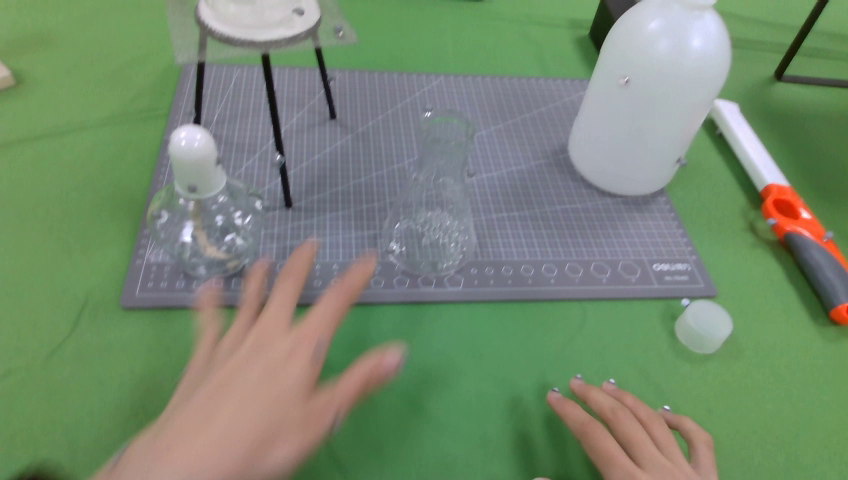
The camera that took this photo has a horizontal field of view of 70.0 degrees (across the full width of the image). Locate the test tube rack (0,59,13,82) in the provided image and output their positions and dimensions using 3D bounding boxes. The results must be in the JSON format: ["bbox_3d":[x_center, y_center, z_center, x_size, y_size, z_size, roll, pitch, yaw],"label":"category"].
[{"bbox_3d":[-0.477,-0.134,0.471,0.066,0.086,0.242,39,55,22],"label":"test tube rack"}]

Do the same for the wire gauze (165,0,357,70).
[{"bbox_3d":[-0.122,-0.172,0.437,0.122,0.011,0.124,-12,57,-17],"label":"wire gauze"}]

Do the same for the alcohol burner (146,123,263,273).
[{"bbox_3d":[-0.151,-0.032,0.414,0.078,0.120,0.077,6,48,-6],"label":"alcohol burner"}]

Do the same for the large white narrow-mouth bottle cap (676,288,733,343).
[{"bbox_3d":[0.213,0.057,0.461,0.038,0.024,0.037,4,49,-4],"label":"large white narrow-mouth bottle cap"}]

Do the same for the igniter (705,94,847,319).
[{"bbox_3d":[0.325,-0.044,0.560,0.057,0.025,0.273,8,48,-16],"label":"igniter"}]

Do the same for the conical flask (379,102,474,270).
[{"bbox_3d":[0.008,-0.040,0.440,0.075,0.123,0.074,4,49,-5],"label":"conical flask"}]

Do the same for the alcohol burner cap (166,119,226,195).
[{"bbox_3d":[-0.146,-0.054,0.385,0.034,0.048,0.033,4,55,-5],"label":"alcohol burner cap"}]

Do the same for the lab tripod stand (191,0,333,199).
[{"bbox_3d":[-0.126,-0.128,0.486,0.149,0.132,0.147,6,50,-6],"label":"lab tripod stand"}]

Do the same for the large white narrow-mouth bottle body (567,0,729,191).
[{"bbox_3d":[0.191,-0.140,0.506,0.102,0.196,0.101,4,49,-4],"label":"large white narrow-mouth bottle body"}]

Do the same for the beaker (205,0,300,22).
[{"bbox_3d":[-0.120,-0.206,0.401,0.084,0.101,0.073,-5,52,-13],"label":"beaker"}]
